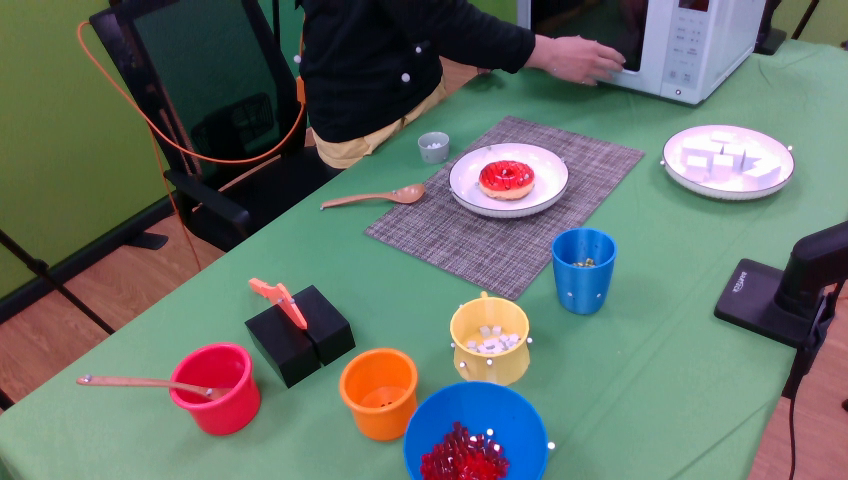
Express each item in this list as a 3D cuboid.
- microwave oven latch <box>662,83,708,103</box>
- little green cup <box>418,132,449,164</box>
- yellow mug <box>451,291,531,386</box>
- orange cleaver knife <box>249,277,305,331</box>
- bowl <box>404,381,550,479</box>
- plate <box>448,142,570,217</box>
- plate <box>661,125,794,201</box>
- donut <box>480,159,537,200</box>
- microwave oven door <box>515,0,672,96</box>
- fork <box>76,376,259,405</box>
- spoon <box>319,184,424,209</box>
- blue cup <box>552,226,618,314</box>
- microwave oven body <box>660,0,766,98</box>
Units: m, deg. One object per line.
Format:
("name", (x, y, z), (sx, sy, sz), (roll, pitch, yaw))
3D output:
("microwave oven latch", (0.518, -0.297, 1.204), (0.078, 0.029, 0.030), (28, 53, 36))
("little green cup", (0.019, -0.178, 1.168), (0.061, 0.039, 0.061), (-3, 41, 3))
("yellow mug", (0.085, 0.120, 0.786), (0.100, 0.064, 0.130), (-7, 39, 1))
("orange cleaver knife", (-0.210, 0.088, 0.856), (0.012, 0.077, 0.210), (-28, 15, -25))
("bowl", (0.058, 0.235, 0.645), (0.151, 0.077, 0.150), (-4, 39, 4))
("plate", (0.148, -0.101, 1.053), (0.209, 0.038, 0.208), (-4, 40, 4))
("plate", (0.513, -0.128, 1.035), (0.207, 0.039, 0.206), (-4, 40, 4))
("donut", (0.145, -0.106, 1.042), (0.099, 0.048, 0.098), (-4, 38, 4))
("microwave oven door", (0.344, -0.455, 1.260), (0.353, 0.245, 0.039), (26, 51, 33))
("fork", (-0.295, 0.176, 0.716), (0.209, 0.018, 0.028), (20, 27, -36))
("spoon", (-0.094, -0.075, 1.074), (0.193, 0.022, 0.041), (-5, 56, 5))
("blue cup", (0.218, 0.047, 0.826), (0.092, 0.101, 0.092), (-6, 40, 5))
("microwave oven body", (0.472, -0.513, 1.317), (0.438, 0.261, 0.327), (26, 51, 34))
